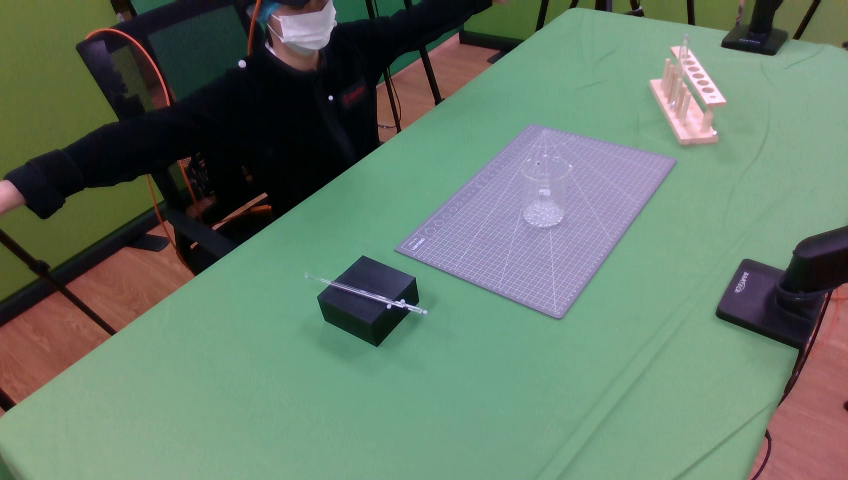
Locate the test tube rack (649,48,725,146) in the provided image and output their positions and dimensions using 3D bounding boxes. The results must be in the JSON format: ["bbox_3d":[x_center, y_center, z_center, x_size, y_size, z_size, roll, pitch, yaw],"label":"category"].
[{"bbox_3d":[0.508,-0.285,1.186,0.067,0.085,0.241,-4,40,6],"label":"test tube rack"}]

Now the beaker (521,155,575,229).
[{"bbox_3d":[0.197,-0.075,0.969,0.084,0.101,0.073,-6,40,2],"label":"beaker"}]

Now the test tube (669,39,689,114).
[{"bbox_3d":[0.482,-0.308,1.146,0.017,0.151,0.017,-5,42,5],"label":"test tube"}]

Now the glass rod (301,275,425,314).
[{"bbox_3d":[-0.088,0.074,0.833,0.198,0.008,0.008,14,44,23],"label":"glass rod"}]
